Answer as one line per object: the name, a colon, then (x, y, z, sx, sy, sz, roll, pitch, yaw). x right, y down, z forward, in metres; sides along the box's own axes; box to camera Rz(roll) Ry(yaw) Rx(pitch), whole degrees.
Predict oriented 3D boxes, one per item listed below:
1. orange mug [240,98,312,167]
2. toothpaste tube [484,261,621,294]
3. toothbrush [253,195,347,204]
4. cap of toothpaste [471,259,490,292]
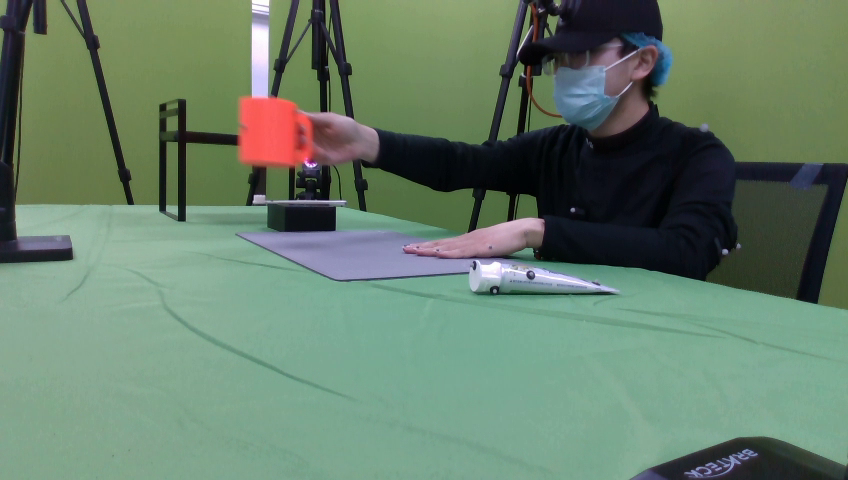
orange mug: (-0.230, -0.166, 0.958, 0.083, 0.100, 0.127, 2, 6, 39)
toothpaste tube: (0.136, 0.045, 0.674, 0.166, 0.034, 0.055, 4, 11, -18)
toothbrush: (-0.234, -0.076, 1.154, 0.183, 0.016, 0.014, -1, 5, -27)
cap of toothpaste: (0.061, 0.038, 0.651, 0.011, 0.037, 0.037, 4, 7, -18)
